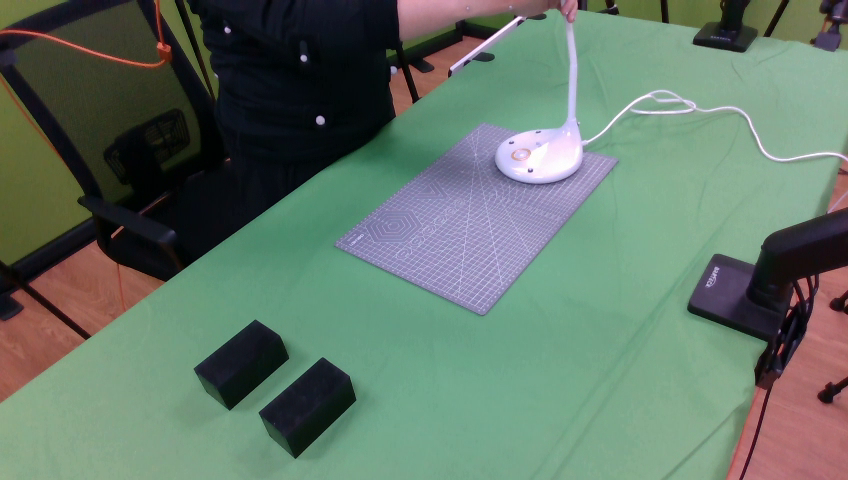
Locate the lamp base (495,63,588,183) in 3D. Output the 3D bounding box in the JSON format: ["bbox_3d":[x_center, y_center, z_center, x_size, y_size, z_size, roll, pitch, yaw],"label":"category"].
[{"bbox_3d":[0.215,-0.217,1.067,0.180,0.181,0.159,-19,42,-18],"label":"lamp base"}]
